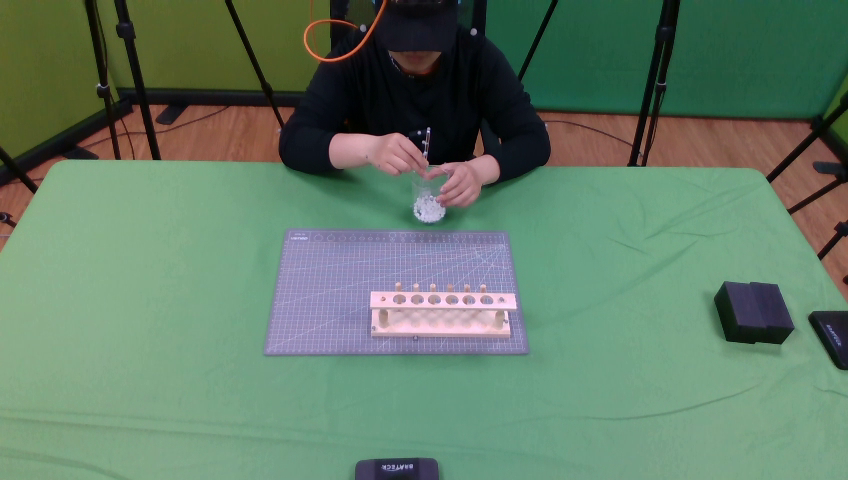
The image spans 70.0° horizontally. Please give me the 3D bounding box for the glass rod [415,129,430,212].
[{"bbox_3d":[-0.004,-0.130,1.180,0.008,0.200,0.008,5,44,-5],"label":"glass rod"}]

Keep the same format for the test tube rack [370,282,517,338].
[{"bbox_3d":[0.030,0.116,1.041,0.242,0.085,0.066,1,46,-3],"label":"test tube rack"}]

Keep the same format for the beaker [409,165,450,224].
[{"bbox_3d":[0.013,-0.089,1.215,0.084,0.101,0.073,-17,49,-16],"label":"beaker"}]
